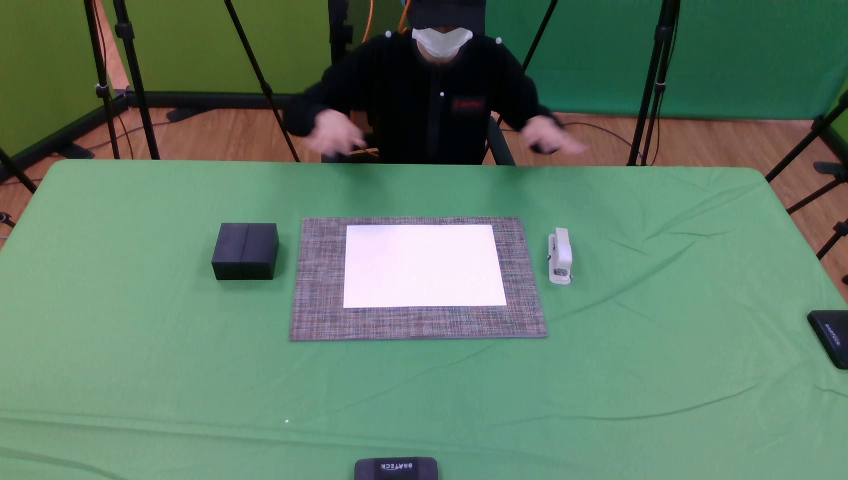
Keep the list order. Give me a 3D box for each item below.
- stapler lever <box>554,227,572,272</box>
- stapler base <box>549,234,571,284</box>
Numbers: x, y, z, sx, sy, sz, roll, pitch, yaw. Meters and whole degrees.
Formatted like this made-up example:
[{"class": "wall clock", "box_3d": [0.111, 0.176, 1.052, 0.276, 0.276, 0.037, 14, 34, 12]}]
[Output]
[{"class": "stapler lever", "box_3d": [0.268, 0.012, 1.172, 0.027, 0.040, 0.117, 8, 45, 2]}, {"class": "stapler base", "box_3d": [0.268, 0.030, 1.188, 0.041, 0.024, 0.130, 8, 44, 2]}]
